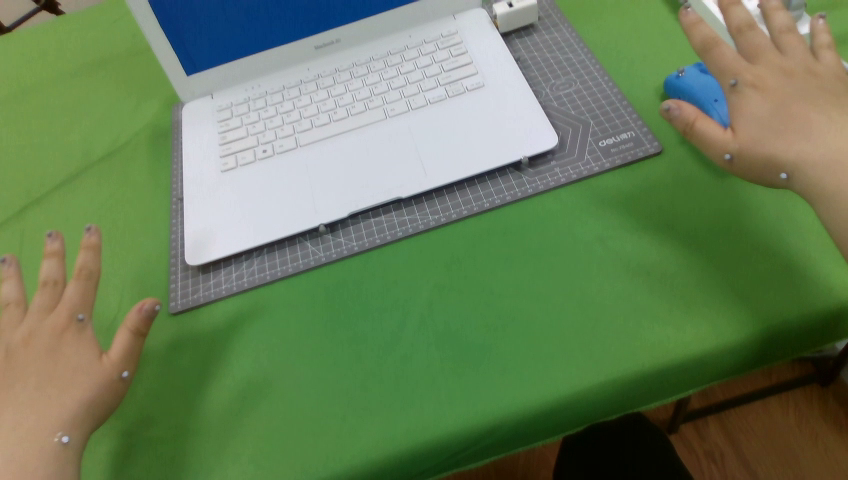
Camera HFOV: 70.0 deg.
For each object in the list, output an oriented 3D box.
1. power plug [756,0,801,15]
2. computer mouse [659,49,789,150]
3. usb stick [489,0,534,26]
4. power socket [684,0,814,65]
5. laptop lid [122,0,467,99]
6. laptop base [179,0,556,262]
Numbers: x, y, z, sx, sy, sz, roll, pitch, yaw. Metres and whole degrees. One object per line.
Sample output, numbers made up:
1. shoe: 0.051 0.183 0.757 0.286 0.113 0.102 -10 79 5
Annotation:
1. power plug: 0.338 -0.220 0.544 0.072 0.053 0.035 -7 56 8
2. computer mouse: 0.255 -0.129 0.522 0.063 0.041 0.116 -19 47 3
3. usb stick: 0.086 -0.248 0.646 0.059 0.027 0.021 -19 52 4
4. power socket: 0.300 -0.257 0.607 0.072 0.033 0.224 -16 53 3
5. laptop lid: -0.134 -0.294 0.603 0.357 0.244 0.013 -20 40 1
6. laptop base: -0.074 -0.120 0.609 0.354 0.023 0.233 -19 56 0
